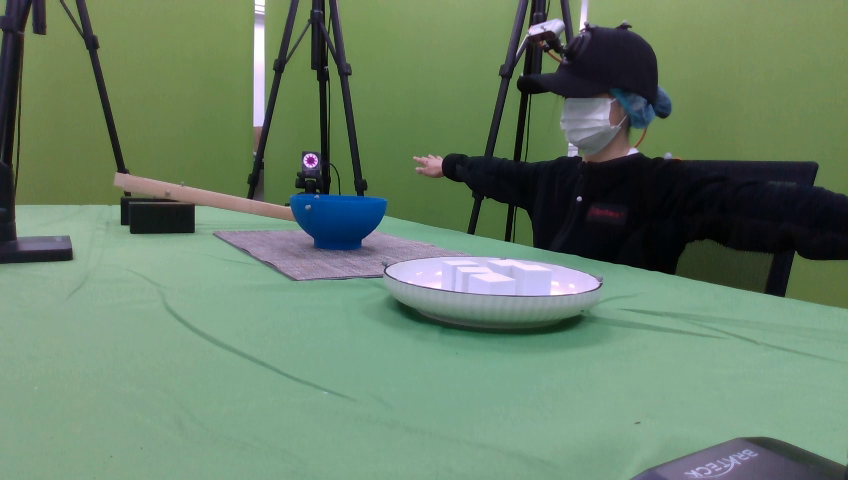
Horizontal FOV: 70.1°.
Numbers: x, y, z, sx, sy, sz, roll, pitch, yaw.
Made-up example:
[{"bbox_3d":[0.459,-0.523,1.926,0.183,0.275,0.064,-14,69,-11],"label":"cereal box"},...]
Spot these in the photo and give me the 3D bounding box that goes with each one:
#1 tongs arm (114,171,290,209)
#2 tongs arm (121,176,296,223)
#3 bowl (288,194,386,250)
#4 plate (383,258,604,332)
[{"bbox_3d":[-0.394,-0.078,1.183,0.387,0.026,0.050,12,0,-27],"label":"tongs arm"},{"bbox_3d":[-0.348,-0.065,1.108,0.390,0.027,0.028,11,-3,-42],"label":"tongs arm"},{"bbox_3d":[-0.135,-0.027,0.936,0.151,0.077,0.151,3,7,0],"label":"bowl"},{"bbox_3d":[0.064,0.051,0.582,0.209,0.038,0.209,3,7,0],"label":"plate"}]
